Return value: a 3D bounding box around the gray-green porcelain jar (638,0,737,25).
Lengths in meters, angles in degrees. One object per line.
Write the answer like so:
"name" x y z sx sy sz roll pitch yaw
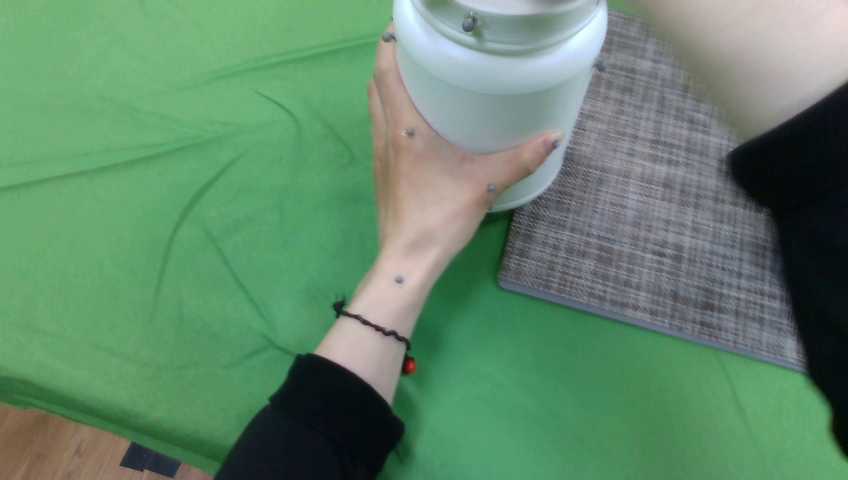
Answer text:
"gray-green porcelain jar" 0.249 -0.267 0.537 0.106 0.127 0.105 1 63 -1

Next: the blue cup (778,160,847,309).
"blue cup" 0.296 0.000 0.412 0.093 0.101 0.092 1 61 -1

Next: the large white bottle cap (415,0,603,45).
"large white bottle cap" 0.046 -0.156 0.336 0.115 0.018 0.114 1 63 -1

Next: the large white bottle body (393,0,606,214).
"large white bottle body" 0.046 -0.116 0.412 0.130 0.186 0.129 0 61 0
